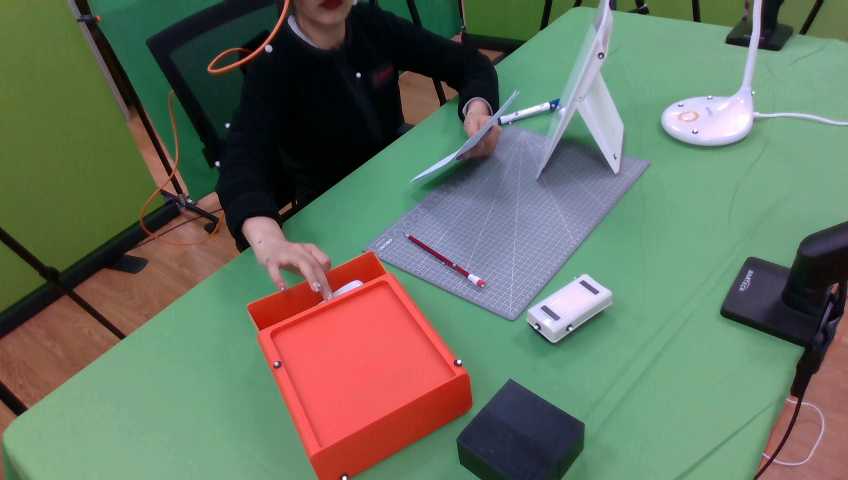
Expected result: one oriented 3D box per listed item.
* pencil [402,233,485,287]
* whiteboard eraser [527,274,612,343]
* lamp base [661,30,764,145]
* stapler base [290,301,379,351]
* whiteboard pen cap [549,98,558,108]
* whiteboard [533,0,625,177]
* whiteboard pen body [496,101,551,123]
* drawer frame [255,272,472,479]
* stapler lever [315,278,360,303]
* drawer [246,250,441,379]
[{"bbox_3d":[0.026,0.028,0.949,0.012,0.012,0.192,-34,44,-26],"label":"pencil"},{"bbox_3d":[0.198,0.094,0.820,0.113,0.042,0.055,-29,43,-22],"label":"whiteboard eraser"},{"bbox_3d":[0.535,-0.287,1.096,0.179,0.181,0.159,-10,40,-4],"label":"lamp base"},{"bbox_3d":[-0.129,0.114,0.857,0.131,0.024,0.041,-24,21,-17],"label":"stapler base"},{"bbox_3d":[0.274,-0.287,1.260,0.033,0.018,0.018,-13,40,-9],"label":"whiteboard pen cap"},{"bbox_3d":[0.321,-0.258,1.049,0.144,0.306,0.217,20,45,4],"label":"whiteboard"},{"bbox_3d":[0.218,-0.269,1.255,0.141,0.017,0.017,-18,41,-5],"label":"whiteboard pen body"},{"bbox_3d":[-0.079,0.161,0.759,0.202,0.083,0.211,-24,43,-18],"label":"drawer frame"},{"bbox_3d":[-0.137,0.092,0.846,0.118,0.040,0.026,-25,22,-17],"label":"stapler lever"},{"bbox_3d":[-0.108,0.130,0.804,0.195,0.073,0.210,-23,43,-18],"label":"drawer"}]
